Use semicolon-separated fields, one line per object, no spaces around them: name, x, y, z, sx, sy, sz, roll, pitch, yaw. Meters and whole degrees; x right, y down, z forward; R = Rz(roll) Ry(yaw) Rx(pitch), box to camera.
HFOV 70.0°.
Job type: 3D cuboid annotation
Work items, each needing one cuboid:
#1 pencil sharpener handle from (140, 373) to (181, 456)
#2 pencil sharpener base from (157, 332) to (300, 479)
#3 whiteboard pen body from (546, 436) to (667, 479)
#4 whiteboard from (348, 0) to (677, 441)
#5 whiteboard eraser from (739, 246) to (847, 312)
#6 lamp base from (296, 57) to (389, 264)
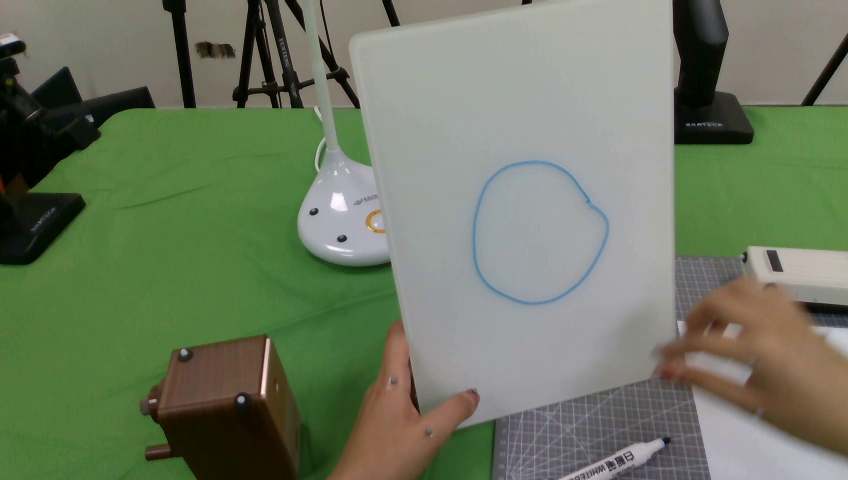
pencil sharpener handle;-0.191;0.127;0.431;0.031;0.068;0.035;-9;28;-3
pencil sharpener base;-0.140;0.127;0.445;0.077;0.108;0.060;-9;40;-3
whiteboard pen body;0.117;0.168;0.435;0.141;0.017;0.017;-17;41;-15
whiteboard;0.070;-0.027;0.497;0.217;0.307;0.142;-12;21;-7
whiteboard eraser;0.350;0.036;0.546;0.112;0.042;0.055;4;42;12
lamp base;-0.079;-0.093;0.644;0.160;0.182;0.177;-31;44;-27
